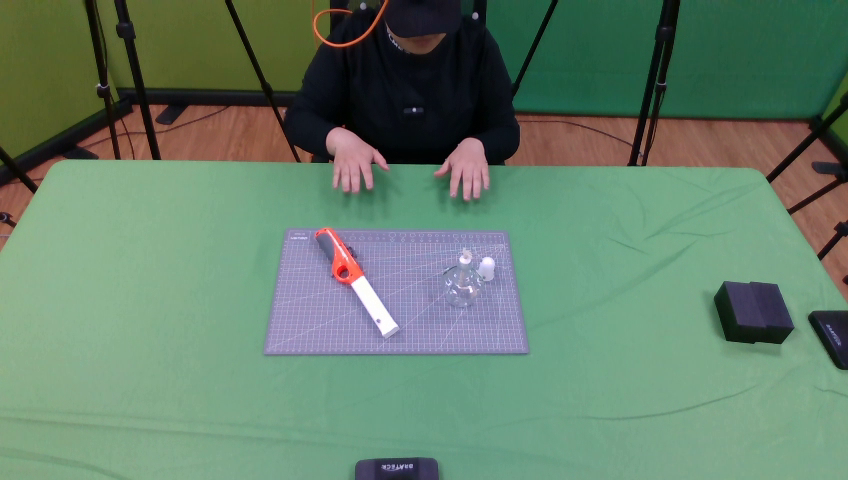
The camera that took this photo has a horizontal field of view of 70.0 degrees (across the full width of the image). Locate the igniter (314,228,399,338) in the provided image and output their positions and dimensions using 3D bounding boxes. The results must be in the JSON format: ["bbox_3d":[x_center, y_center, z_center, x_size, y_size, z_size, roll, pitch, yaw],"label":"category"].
[{"bbox_3d":[-0.128,0.069,1.111,0.057,0.025,0.275,-36,57,-5],"label":"igniter"}]

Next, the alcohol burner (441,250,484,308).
[{"bbox_3d":[0.069,0.064,1.075,0.078,0.120,0.077,1,45,-1],"label":"alcohol burner"}]

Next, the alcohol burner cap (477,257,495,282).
[{"bbox_3d":[0.118,0.053,1.139,0.034,0.048,0.033,2,46,-2],"label":"alcohol burner cap"}]
